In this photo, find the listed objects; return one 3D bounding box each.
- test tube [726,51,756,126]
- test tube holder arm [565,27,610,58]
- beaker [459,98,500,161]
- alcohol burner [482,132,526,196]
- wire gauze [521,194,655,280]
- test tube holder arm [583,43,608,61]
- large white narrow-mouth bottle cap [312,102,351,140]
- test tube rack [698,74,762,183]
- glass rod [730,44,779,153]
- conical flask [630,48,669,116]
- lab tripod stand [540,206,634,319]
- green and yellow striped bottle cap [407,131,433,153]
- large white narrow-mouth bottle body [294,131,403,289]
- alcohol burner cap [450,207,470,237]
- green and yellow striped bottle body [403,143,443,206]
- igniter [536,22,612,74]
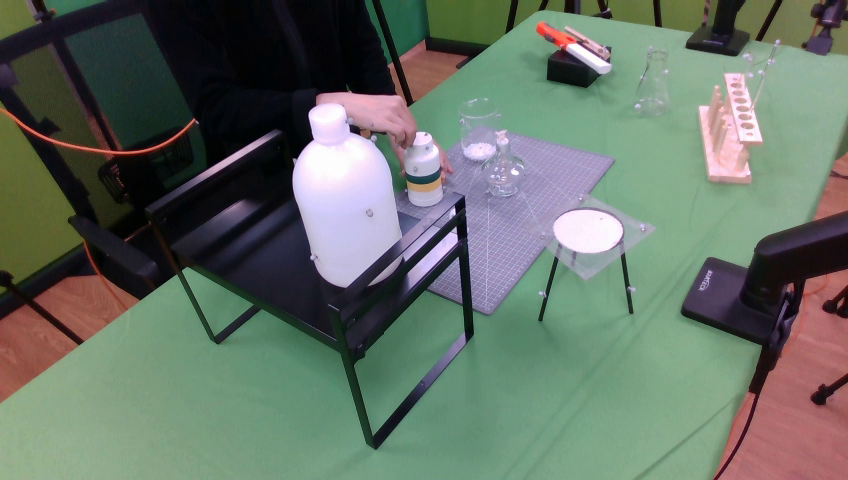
[{"bbox_3d":[0.568,-0.268,1.086,0.017,0.151,0.017,-4,46,4],"label":"test tube"},{"bbox_3d":[0.369,-0.450,1.373,0.013,0.015,0.177,-39,41,10],"label":"test tube holder arm"},{"bbox_3d":[0.104,-0.208,1.142,0.074,0.101,0.083,-20,41,-15],"label":"beaker"},{"bbox_3d":[0.137,-0.136,1.042,0.078,0.119,0.077,-4,43,4],"label":"alcohol burner"},{"bbox_3d":[0.207,-0.012,0.772,0.122,0.011,0.124,-28,44,-20],"label":"wire gauze"},{"bbox_3d":[0.379,-0.420,1.341,0.010,0.015,0.087,-39,41,10],"label":"test tube holder arm"},{"bbox_3d":[-0.089,-0.114,0.579,0.038,0.024,0.037,-3,39,3],"label":"large white narrow-mouth bottle cap"},{"bbox_3d":[0.547,-0.208,1.095,0.066,0.085,0.242,5,42,15],"label":"test tube rack"},{"bbox_3d":[0.555,-0.234,1.020,0.008,0.200,0.008,2,40,-1],"label":"glass rod"},{"bbox_3d":[0.456,-0.317,1.205,0.075,0.122,0.075,-4,41,4],"label":"conical flask"},{"bbox_3d":[0.218,0.034,0.821,0.148,0.132,0.147,-4,42,4],"label":"lab tripod stand"},{"bbox_3d":[-0.007,-0.163,1.006,0.045,0.020,0.045,-3,38,3],"label":"green and yellow striped bottle cap"},{"bbox_3d":[-0.082,-0.047,0.634,0.102,0.195,0.101,-4,39,4],"label":"large white narrow-mouth bottle body"},{"bbox_3d":[0.057,-0.032,0.987,0.034,0.048,0.033,-4,42,4],"label":"alcohol burner cap"},{"bbox_3d":[-0.002,-0.123,1.041,0.063,0.120,0.063,-4,41,4],"label":"green and yellow striped bottle body"},{"bbox_3d":[0.330,-0.439,1.366,0.057,0.025,0.274,-11,41,-20],"label":"igniter"}]
